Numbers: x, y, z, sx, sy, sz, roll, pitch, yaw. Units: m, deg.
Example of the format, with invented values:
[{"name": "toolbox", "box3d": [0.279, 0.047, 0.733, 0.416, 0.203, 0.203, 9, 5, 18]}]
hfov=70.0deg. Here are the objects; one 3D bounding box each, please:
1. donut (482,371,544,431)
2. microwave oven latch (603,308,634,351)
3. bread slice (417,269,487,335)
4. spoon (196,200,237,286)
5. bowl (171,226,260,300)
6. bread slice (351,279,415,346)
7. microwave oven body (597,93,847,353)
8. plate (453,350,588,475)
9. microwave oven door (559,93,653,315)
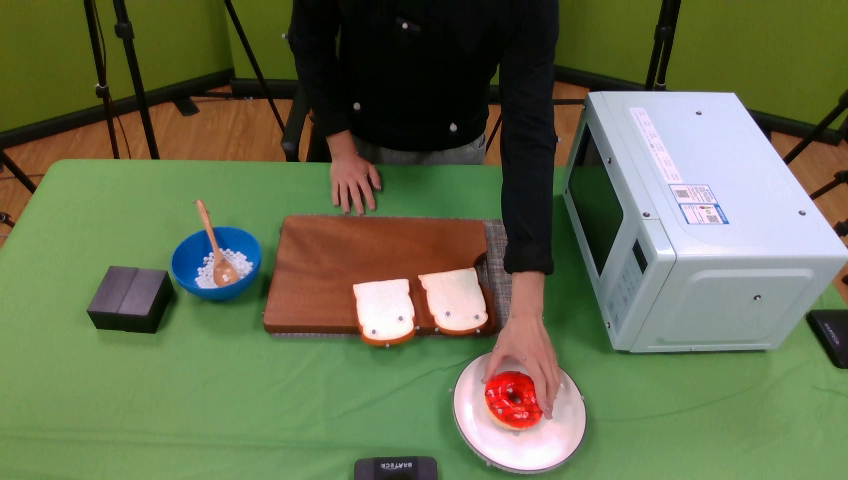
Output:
[{"name": "donut", "box3d": [0.139, 0.250, 0.943, 0.099, 0.048, 0.098, 5, 45, -5]}, {"name": "microwave oven latch", "box3d": [0.333, 0.153, 1.044, 0.030, 0.029, 0.078, 0, 45, -3]}, {"name": "bread slice", "box3d": [0.055, 0.108, 1.064, 0.107, 0.018, 0.133, -9, 47, -12]}, {"name": "spoon", "box3d": [-0.377, 0.003, 1.086, 0.042, 0.022, 0.192, -15, 67, -23]}, {"name": "bowl", "box3d": [-0.363, 0.054, 1.081, 0.151, 0.077, 0.150, 2, 46, -2]}, {"name": "bread slice", "box3d": [-0.067, 0.122, 1.040, 0.105, 0.019, 0.130, -7, 47, -9]}, {"name": "microwave oven body", "box3d": [0.475, -0.041, 1.109, 0.326, 0.261, 0.438, -1, 45, -4]}, {"name": "plate", "box3d": [0.147, 0.268, 0.943, 0.208, 0.039, 0.206, 2, 46, -2]}, {"name": "microwave oven door", "box3d": [0.327, -0.074, 1.123, 0.039, 0.245, 0.353, -1, 46, -5]}]
